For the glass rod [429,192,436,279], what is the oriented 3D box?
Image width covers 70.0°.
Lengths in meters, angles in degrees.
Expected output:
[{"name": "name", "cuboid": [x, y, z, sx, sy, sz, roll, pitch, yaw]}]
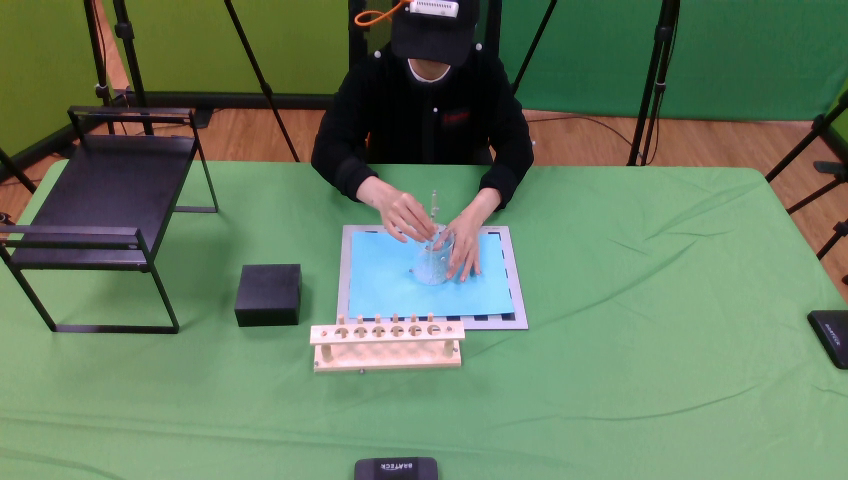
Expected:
[{"name": "glass rod", "cuboid": [0.015, -0.003, 1.057, 0.008, 0.201, 0.008, 1, 41, -1]}]

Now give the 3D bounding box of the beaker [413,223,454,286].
[{"name": "beaker", "cuboid": [0.018, 0.027, 1.110, 0.073, 0.101, 0.084, 37, 54, 27]}]

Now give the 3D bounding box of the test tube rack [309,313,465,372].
[{"name": "test tube rack", "cuboid": [-0.059, 0.161, 0.990, 0.242, 0.085, 0.066, -1, 46, -5]}]
